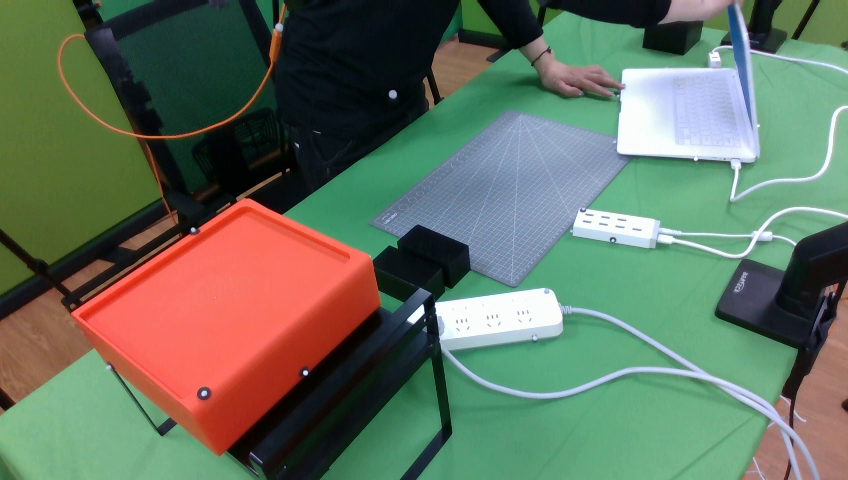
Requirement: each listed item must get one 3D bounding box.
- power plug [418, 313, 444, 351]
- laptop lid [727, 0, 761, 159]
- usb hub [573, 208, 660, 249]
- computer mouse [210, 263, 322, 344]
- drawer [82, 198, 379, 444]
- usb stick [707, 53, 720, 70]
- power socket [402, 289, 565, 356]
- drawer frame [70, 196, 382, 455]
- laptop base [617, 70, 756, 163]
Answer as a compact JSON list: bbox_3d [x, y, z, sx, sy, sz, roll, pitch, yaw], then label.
[{"bbox_3d":[0.007,0.127,0.786,0.035,0.053,0.072,0,43,8],"label":"power plug"},{"bbox_3d":[0.580,-0.335,1.103,0.013,0.243,0.356,-8,36,26],"label":"laptop lid"},{"bbox_3d":[0.302,-0.019,0.950,0.124,0.025,0.049,11,43,20],"label":"usb hub"},{"bbox_3d":[-0.165,0.062,0.624,0.116,0.041,0.063,23,44,27],"label":"computer mouse"},{"bbox_3d":[-0.185,0.065,0.600,0.193,0.073,0.212,24,50,31],"label":"drawer"},{"bbox_3d":[0.630,-0.380,1.313,0.021,0.027,0.059,0,47,17],"label":"usb stick"},{"bbox_3d":[0.081,0.112,0.822,0.227,0.033,0.072,-7,41,-1],"label":"power socket"},{"bbox_3d":[-0.186,0.068,0.597,0.200,0.083,0.214,23,49,30],"label":"drawer frame"},{"bbox_3d":[0.510,-0.254,1.202,0.234,0.023,0.353,4,41,16],"label":"laptop base"}]
